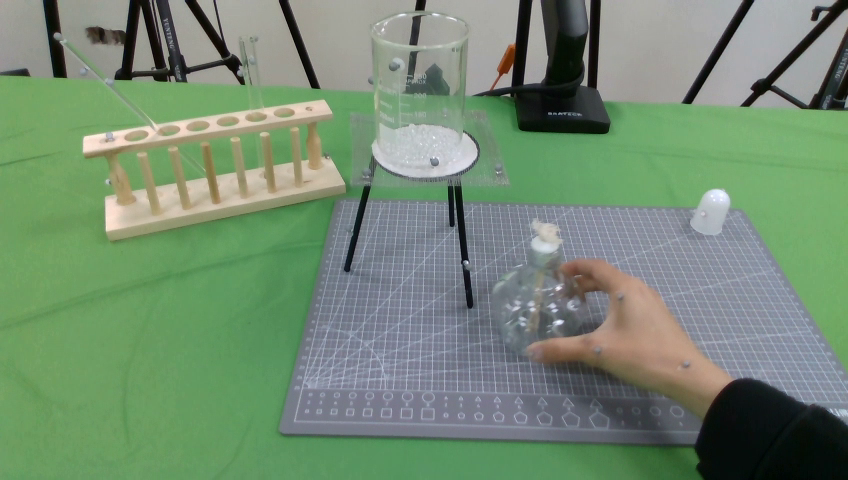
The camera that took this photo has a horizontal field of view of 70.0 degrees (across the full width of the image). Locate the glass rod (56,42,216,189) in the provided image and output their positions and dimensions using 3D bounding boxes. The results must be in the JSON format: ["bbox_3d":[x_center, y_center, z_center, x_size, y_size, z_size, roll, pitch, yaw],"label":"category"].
[{"bbox_3d":[-0.273,-0.111,0.592,0.008,0.202,0.008,-18,46,20],"label":"glass rod"}]

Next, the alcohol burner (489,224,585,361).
[{"bbox_3d":[0.091,0.039,0.483,0.078,0.120,0.077,-1,38,1],"label":"alcohol burner"}]

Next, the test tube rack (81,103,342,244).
[{"bbox_3d":[-0.215,-0.074,0.637,0.243,0.086,0.066,-14,41,-19],"label":"test tube rack"}]

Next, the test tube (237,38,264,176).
[{"bbox_3d":[-0.179,-0.134,0.635,0.017,0.151,0.017,2,36,-1],"label":"test tube"}]

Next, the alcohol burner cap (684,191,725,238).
[{"bbox_3d":[0.295,-0.029,0.633,0.034,0.048,0.033,1,39,-1],"label":"alcohol burner cap"}]

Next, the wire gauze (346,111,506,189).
[{"bbox_3d":[-0.003,-0.074,0.500,0.125,0.011,0.120,-4,37,-3],"label":"wire gauze"}]

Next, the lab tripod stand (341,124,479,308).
[{"bbox_3d":[-0.005,-0.024,0.541,0.148,0.132,0.147,1,41,0],"label":"lab tripod stand"}]

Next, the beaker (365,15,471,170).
[{"bbox_3d":[-0.008,-0.112,0.468,0.083,0.101,0.074,22,43,25],"label":"beaker"}]
